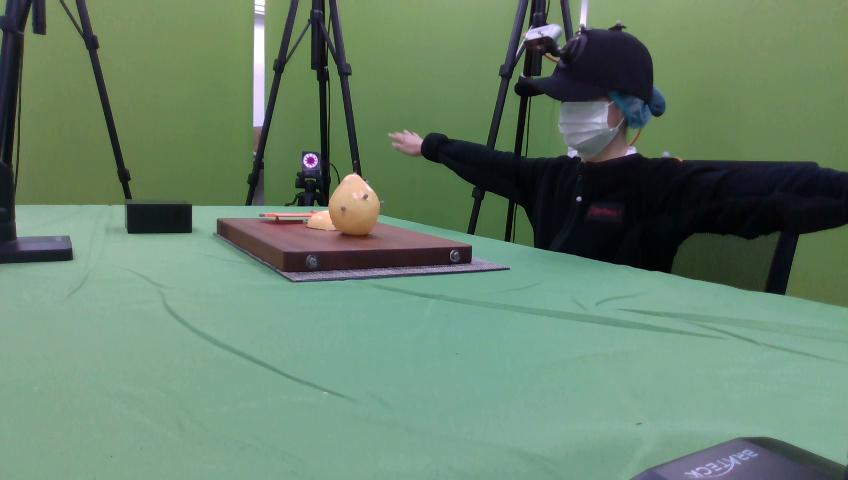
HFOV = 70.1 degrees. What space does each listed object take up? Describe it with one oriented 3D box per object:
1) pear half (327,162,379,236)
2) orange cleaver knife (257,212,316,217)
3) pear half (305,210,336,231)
[{"bbox_3d":[-0.099,-0.060,0.889,0.077,0.110,0.055,-7,12,-35],"label":"pear half"},{"bbox_3d":[-0.209,-0.044,1.088,0.077,0.012,0.212,3,3,31],"label":"orange cleaver knife"},{"bbox_3d":[-0.156,-0.032,0.976,0.071,0.031,0.087,-7,7,-23],"label":"pear half"}]
